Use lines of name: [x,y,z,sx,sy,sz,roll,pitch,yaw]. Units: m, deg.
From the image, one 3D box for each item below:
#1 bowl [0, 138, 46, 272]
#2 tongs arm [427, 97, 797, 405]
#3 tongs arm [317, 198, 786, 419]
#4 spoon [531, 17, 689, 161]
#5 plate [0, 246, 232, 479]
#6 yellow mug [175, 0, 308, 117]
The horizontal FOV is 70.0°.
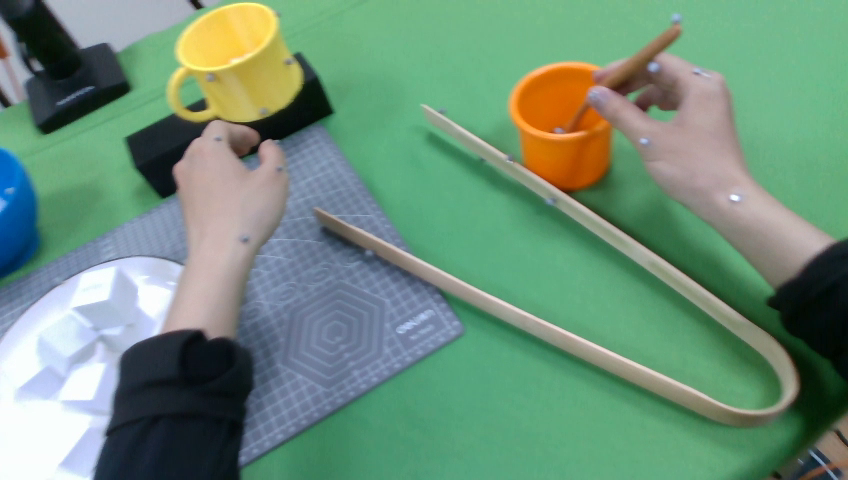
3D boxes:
bowl: [-0.434,-0.019,0.596,0.151,0.077,0.150,-7,55,10]
tongs arm: [0.119,-0.015,0.490,0.050,0.027,0.381,-41,58,-17]
tongs arm: [0.065,0.041,0.466,0.384,0.028,0.028,25,60,26]
spoon: [0.132,-0.108,0.464,0.022,0.194,0.041,27,68,-6]
plate: [-0.251,0.099,0.491,0.207,0.039,0.205,-6,54,9]
yellow mug: [-0.182,-0.169,0.587,0.130,0.064,0.099,-43,57,-16]
